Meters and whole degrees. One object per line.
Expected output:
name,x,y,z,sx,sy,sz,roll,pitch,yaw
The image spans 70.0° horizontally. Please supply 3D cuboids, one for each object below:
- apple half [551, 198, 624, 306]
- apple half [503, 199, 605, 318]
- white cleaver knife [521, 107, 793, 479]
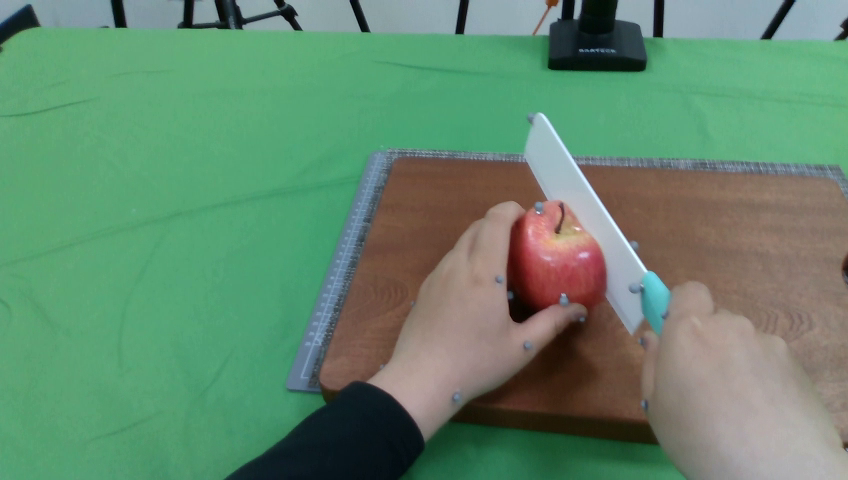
apple half,0.121,0.007,0.434,0.033,0.082,0.080,-17,45,-13
apple half,0.083,0.018,0.425,0.053,0.075,0.080,-19,51,-10
white cleaver knife,0.127,0.025,0.377,0.021,0.066,0.283,-18,57,-8
